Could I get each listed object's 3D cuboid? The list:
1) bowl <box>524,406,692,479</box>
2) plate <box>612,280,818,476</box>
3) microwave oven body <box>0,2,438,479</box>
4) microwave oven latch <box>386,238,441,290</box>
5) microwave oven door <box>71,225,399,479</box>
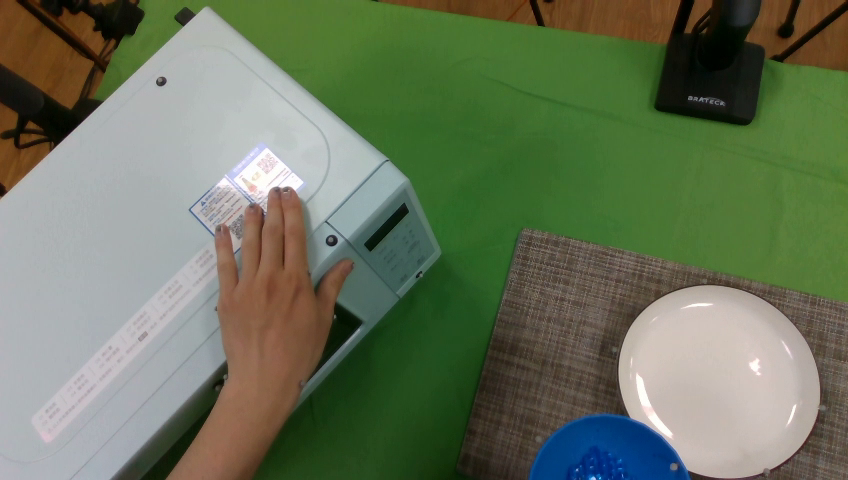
[{"bbox_3d":[0.163,0.234,0.570,0.151,0.077,0.150,0,74,0],"label":"bowl"},{"bbox_3d":[0.312,0.148,0.665,0.207,0.039,0.206,-2,73,8],"label":"plate"},{"bbox_3d":[-0.256,0.030,0.673,0.324,0.262,0.441,41,84,17],"label":"microwave oven body"},{"bbox_3d":[-0.014,0.023,0.739,0.079,0.030,0.030,-45,72,-5],"label":"microwave oven latch"},{"bbox_3d":[-0.181,0.150,0.620,0.039,0.245,0.355,41,83,19],"label":"microwave oven door"}]
